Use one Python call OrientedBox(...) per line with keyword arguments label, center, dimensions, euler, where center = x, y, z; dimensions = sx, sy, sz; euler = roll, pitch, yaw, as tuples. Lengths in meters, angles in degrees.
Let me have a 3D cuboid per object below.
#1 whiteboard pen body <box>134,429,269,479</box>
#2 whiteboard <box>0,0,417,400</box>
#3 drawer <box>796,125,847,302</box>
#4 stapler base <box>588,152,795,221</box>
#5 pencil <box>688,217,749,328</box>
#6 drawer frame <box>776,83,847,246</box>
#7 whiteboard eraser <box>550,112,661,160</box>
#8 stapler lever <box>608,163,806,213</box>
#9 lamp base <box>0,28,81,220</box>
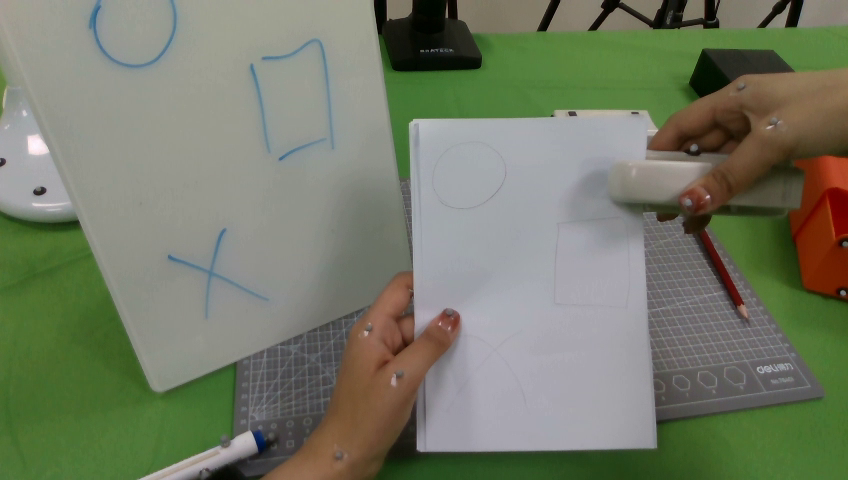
OrientedBox(label="whiteboard pen body", center=(-0.167, 0.153, 0.381), dimensions=(0.141, 0.017, 0.017), euler=(-18, 49, -24))
OrientedBox(label="whiteboard", center=(-0.148, -0.079, 0.457), dimensions=(0.218, 0.308, 0.142), euler=(-21, 31, -23))
OrientedBox(label="drawer", center=(0.469, -0.018, 0.582), dimensions=(0.194, 0.074, 0.210), euler=(15, 45, 10))
OrientedBox(label="stapler base", center=(0.173, -0.034, 0.388), dimensions=(0.130, 0.041, 0.024), euler=(2, 12, 1))
OrientedBox(label="pencil", center=(0.273, 0.005, 0.584), dimensions=(0.012, 0.012, 0.192), euler=(0, 47, -5))
OrientedBox(label="drawer frame", center=(0.488, -0.061, 0.625), dimensions=(0.201, 0.083, 0.212), euler=(14, 45, 10))
OrientedBox(label="whiteboard eraser", center=(0.202, -0.116, 0.681), dimensions=(0.113, 0.042, 0.055), euler=(0, 46, -6))
OrientedBox(label="stapler lever", center=(0.173, -0.031, 0.368), dimensions=(0.118, 0.027, 0.040), euler=(3, 12, 7))
OrientedBox(label="lamp base", center=(-0.342, -0.135, 0.541), dimensions=(0.178, 0.182, 0.160), euler=(24, 47, 21))
